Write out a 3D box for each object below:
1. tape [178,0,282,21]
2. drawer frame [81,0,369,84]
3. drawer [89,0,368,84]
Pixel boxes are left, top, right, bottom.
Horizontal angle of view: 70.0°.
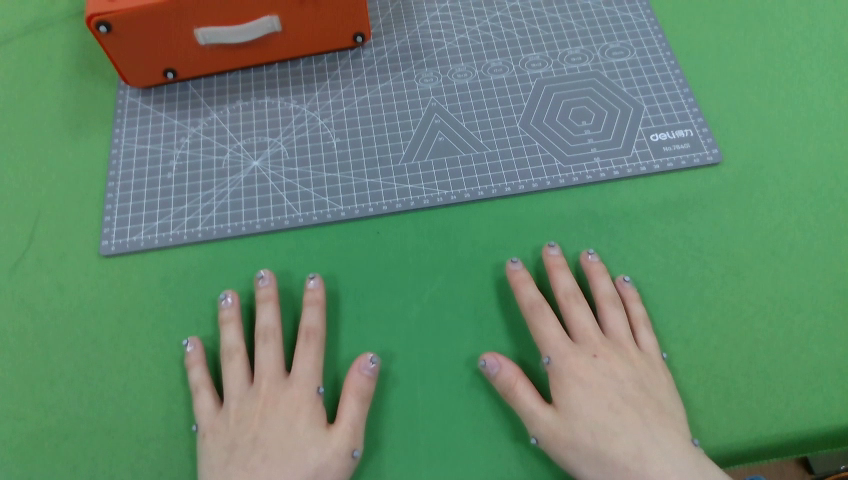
[{"bbox_3d":[-0.166,-0.246,0.514,0.117,0.053,0.116,0,63,1],"label":"tape"},{"bbox_3d":[-0.166,-0.247,0.507,0.202,0.083,0.211,-14,62,-5],"label":"drawer frame"},{"bbox_3d":[-0.164,-0.244,0.506,0.195,0.074,0.209,-13,62,-4],"label":"drawer"}]
